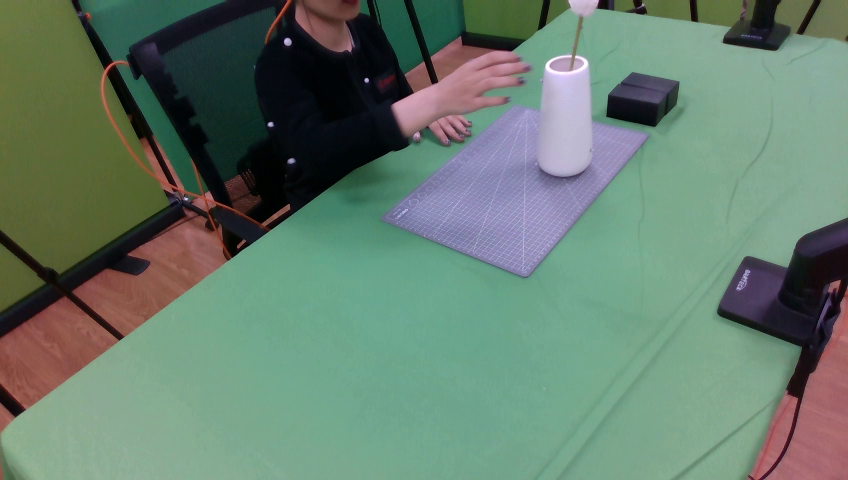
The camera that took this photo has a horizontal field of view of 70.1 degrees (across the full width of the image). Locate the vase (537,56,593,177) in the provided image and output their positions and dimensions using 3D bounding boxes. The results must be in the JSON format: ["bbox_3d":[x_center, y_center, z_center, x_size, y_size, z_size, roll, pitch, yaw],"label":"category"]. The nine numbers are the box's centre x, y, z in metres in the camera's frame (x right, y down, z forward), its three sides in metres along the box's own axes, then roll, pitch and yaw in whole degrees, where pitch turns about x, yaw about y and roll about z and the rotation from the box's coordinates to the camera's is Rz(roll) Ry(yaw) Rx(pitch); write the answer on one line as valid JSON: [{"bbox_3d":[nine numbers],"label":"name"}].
[{"bbox_3d":[0.245,-0.209,1.040,0.098,0.201,0.097,-4,40,4],"label":"vase"}]

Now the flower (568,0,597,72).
[{"bbox_3d":[0.232,-0.260,0.974,0.044,0.363,0.038,-23,59,-10],"label":"flower"}]
